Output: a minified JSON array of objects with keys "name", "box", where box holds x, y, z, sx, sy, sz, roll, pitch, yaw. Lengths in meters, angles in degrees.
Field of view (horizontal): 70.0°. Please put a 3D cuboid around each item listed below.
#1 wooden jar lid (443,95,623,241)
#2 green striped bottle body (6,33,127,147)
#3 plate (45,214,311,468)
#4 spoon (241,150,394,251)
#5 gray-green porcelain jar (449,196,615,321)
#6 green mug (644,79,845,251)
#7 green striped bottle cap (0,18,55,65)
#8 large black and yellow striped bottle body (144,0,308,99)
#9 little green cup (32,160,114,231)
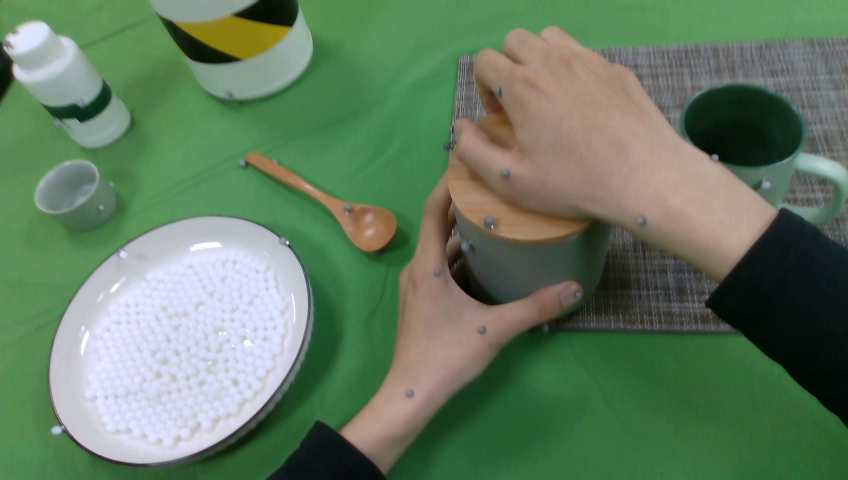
[{"name":"wooden jar lid","box":[0.066,-0.043,0.374,0.108,0.021,0.107,-6,59,11]},{"name":"green striped bottle body","box":[-0.353,-0.151,0.592,0.063,0.120,0.062,-4,58,8]},{"name":"plate","box":[-0.186,0.074,0.477,0.209,0.038,0.207,-4,58,7]},{"name":"spoon","box":[-0.101,-0.044,0.543,0.192,0.022,0.041,30,86,24]},{"name":"gray-green porcelain jar","box":[0.075,-0.009,0.427,0.106,0.128,0.105,-4,58,7]},{"name":"green mug","box":[0.229,-0.047,0.437,0.124,0.106,0.092,19,63,19]},{"name":"green striped bottle cap","box":[-0.361,-0.179,0.548,0.044,0.020,0.044,-3,60,5]},{"name":"large black and yellow striped bottle body","box":[-0.201,-0.244,0.584,0.130,0.186,0.129,-4,59,7]},{"name":"little green cup","box":[-0.327,-0.040,0.569,0.061,0.039,0.061,-4,58,7]}]
